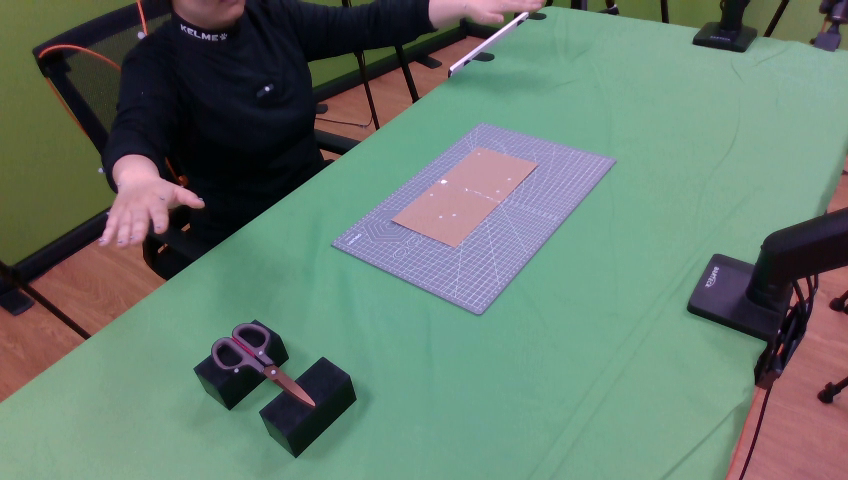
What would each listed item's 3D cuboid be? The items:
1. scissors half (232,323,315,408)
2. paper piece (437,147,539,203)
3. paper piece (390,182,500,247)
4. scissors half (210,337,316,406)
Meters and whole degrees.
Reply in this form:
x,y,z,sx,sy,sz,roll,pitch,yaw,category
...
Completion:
x,y,z,sx,sy,sz,roll,pitch,yaw,category
-0.185,0.152,0.748,0.040,0.013,0.173,-33,48,-26,scissors half
0.117,-0.122,1.104,0.135,0.009,0.138,26,49,29,paper piece
0.037,-0.048,1.027,0.134,0.004,0.136,23,48,30,paper piece
-0.198,0.163,0.736,0.174,0.013,0.040,19,43,26,scissors half
